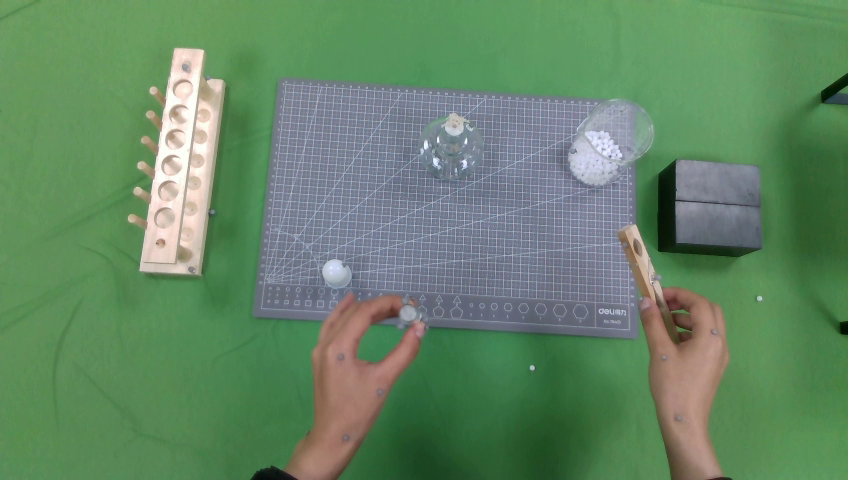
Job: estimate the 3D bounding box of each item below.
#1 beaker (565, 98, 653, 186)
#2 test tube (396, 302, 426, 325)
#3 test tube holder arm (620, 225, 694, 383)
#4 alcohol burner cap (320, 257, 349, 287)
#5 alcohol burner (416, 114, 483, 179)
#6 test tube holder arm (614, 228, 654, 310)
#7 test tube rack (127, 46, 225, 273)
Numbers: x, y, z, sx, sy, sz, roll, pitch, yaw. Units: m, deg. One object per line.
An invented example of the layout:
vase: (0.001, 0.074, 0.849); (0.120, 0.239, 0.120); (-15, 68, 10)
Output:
beaker: (0.207, -0.109, 0.705); (0.084, 0.100, 0.073); (2, 77, -1)
test tube: (-0.010, 0.068, 0.551); (0.017, 0.151, 0.017); (0, 81, 3)
test tube holder arm: (0.234, 0.066, 0.604); (0.013, 0.015, 0.179); (-30, 101, -12)
alcohol burner cap: (-0.104, 0.035, 0.691); (0.034, 0.048, 0.033); (1, 79, -3)
alcohol burner: (0.030, -0.113, 0.691); (0.078, 0.119, 0.077); (0, 79, 0)
test tube holder arm: (0.209, 0.028, 0.594); (0.010, 0.015, 0.088); (-28, 101, -12)
test tube rack: (-0.286, -0.089, 0.689); (0.067, 0.085, 0.241); (4, 78, -1)
